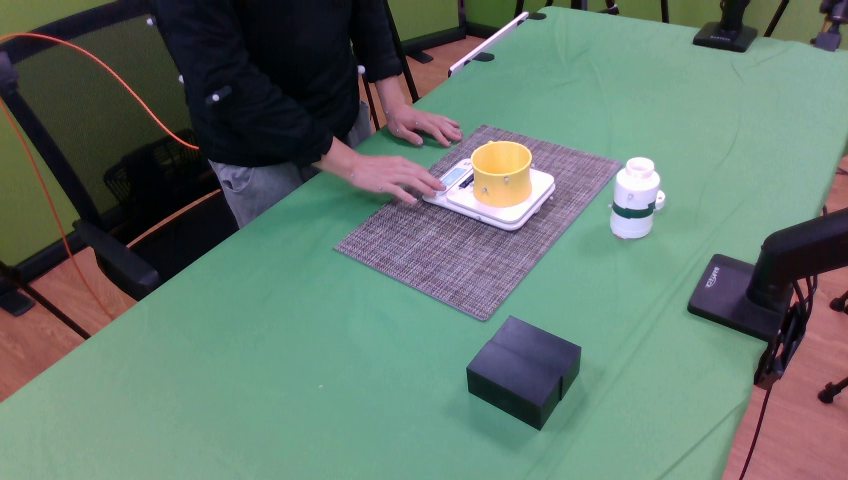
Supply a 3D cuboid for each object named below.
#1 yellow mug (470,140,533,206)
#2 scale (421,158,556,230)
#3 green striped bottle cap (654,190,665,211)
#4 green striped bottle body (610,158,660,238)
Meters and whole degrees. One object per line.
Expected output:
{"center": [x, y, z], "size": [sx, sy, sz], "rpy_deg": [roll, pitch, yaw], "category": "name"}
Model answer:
{"center": [0.124, -0.121, 1.004], "size": [0.100, 0.064, 0.130], "rpy_deg": [-13, 41, -5], "category": "yellow mug"}
{"center": [0.110, -0.089, 1.042], "size": [0.199, 0.032, 0.149], "rpy_deg": [23, 48, 31], "category": "scale"}
{"center": [0.374, -0.066, 0.998], "size": [0.044, 0.020, 0.044], "rpy_deg": [-8, 38, 7], "category": "green striped bottle cap"}
{"center": [0.323, -0.066, 0.924], "size": [0.063, 0.120, 0.063], "rpy_deg": [-4, 41, 4], "category": "green striped bottle body"}
